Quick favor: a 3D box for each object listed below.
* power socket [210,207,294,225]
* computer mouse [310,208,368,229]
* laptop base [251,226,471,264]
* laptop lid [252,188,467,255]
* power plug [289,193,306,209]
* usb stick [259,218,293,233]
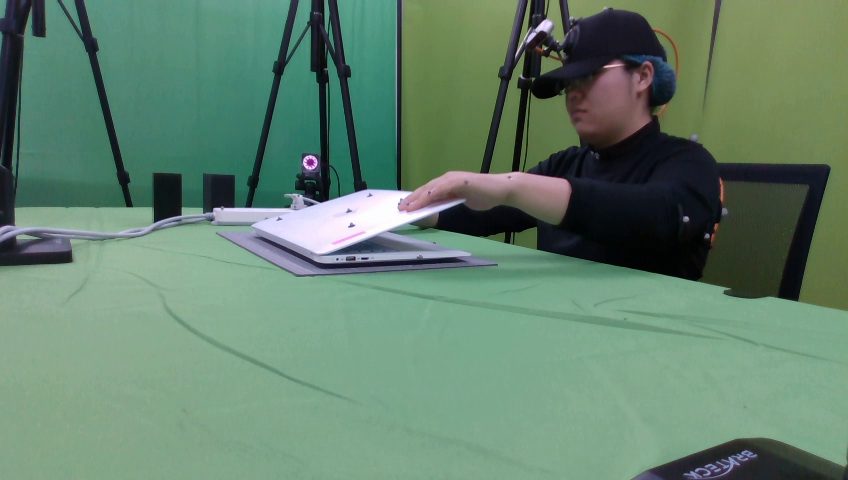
[{"bbox_3d":[-0.335,-0.051,1.282,0.228,0.032,0.072,-1,9,-28],"label":"power socket"},{"bbox_3d":[-0.179,-0.044,1.274,0.118,0.041,0.062,-6,13,-29],"label":"computer mouse"},{"bbox_3d":[-0.116,0.007,0.955,0.237,0.023,0.352,2,6,-30],"label":"laptop base"},{"bbox_3d":[-0.118,-0.041,0.946,0.242,0.013,0.355,-20,17,-24],"label":"laptop lid"},{"bbox_3d":[-0.281,-0.076,1.340,0.035,0.052,0.072,3,6,-17],"label":"power plug"},{"bbox_3d":[-0.272,-0.026,1.108,0.059,0.027,0.021,-3,12,-27],"label":"usb stick"}]
